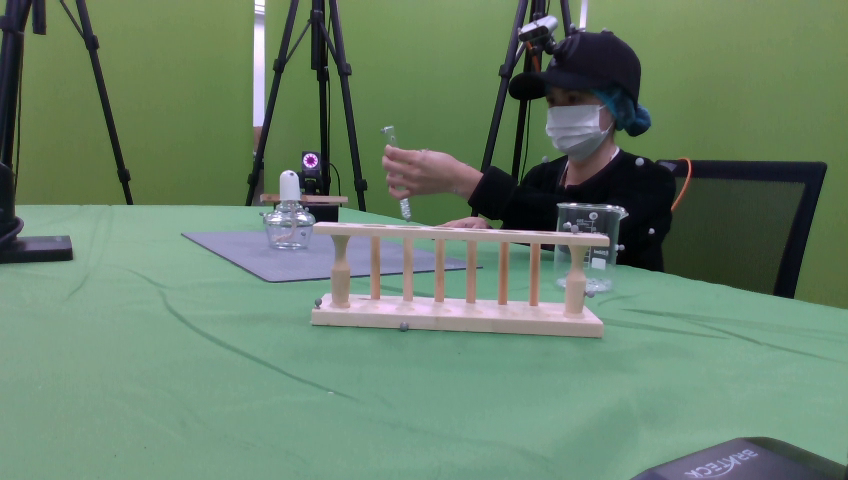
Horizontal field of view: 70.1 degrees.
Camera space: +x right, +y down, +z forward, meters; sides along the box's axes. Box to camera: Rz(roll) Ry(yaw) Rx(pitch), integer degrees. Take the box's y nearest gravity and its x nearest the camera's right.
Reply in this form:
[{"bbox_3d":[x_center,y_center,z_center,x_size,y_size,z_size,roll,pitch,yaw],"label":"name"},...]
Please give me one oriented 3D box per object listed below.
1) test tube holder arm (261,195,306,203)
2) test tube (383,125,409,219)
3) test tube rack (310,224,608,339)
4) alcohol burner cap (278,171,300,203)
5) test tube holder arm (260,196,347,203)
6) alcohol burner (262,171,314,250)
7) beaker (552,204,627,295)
[{"bbox_3d":[-0.275,-0.081,1.184,0.088,0.015,0.010,-1,0,-32],"label":"test tube holder arm"},{"bbox_3d":[-0.042,-0.105,0.952,0.017,0.150,0.017,-9,17,3],"label":"test tube"},{"bbox_3d":[0.028,0.032,0.528,0.242,0.085,0.067,3,7,0],"label":"test tube rack"},{"bbox_3d":[-0.203,-0.080,0.909,0.034,0.048,0.034,-1,3,0],"label":"alcohol burner cap"},{"bbox_3d":[-0.239,-0.082,1.213,0.179,0.015,0.013,-1,0,-32],"label":"test tube holder arm"},{"bbox_3d":[-0.205,-0.045,0.913,0.078,0.119,0.078,1,9,0],"label":"alcohol burner"},{"bbox_3d":[0.191,0.010,0.708,0.083,0.100,0.074,8,9,33],"label":"beaker"}]
